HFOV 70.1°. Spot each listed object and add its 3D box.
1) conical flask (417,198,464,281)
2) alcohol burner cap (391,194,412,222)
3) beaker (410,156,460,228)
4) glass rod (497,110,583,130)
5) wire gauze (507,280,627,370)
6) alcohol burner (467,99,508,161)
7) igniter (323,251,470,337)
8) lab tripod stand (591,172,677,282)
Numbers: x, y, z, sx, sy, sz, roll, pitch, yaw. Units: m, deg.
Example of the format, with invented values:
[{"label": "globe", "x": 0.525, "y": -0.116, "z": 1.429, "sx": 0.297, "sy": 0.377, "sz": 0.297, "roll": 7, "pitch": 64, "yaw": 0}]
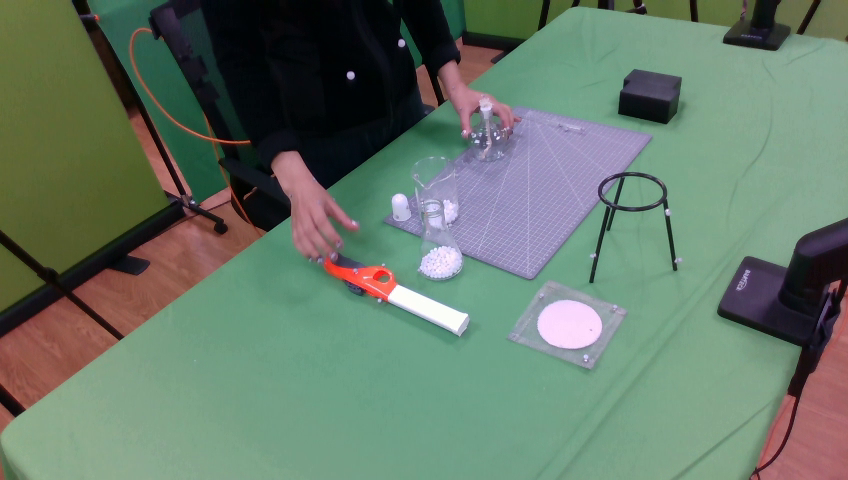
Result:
[{"label": "conical flask", "x": 0.019, "y": -0.004, "z": 0.907, "sx": 0.075, "sy": 0.122, "sz": 0.075, "roll": -5, "pitch": 40, "yaw": 5}, {"label": "alcohol burner cap", "x": -0.041, "y": -0.057, "z": 1.040, "sx": 0.034, "sy": 0.048, "sz": 0.033, "roll": -6, "pitch": 40, "yaw": 5}, {"label": "beaker", "x": 0.020, "y": -0.076, "z": 1.006, "sx": 0.074, "sy": 0.101, "sz": 0.084, "roll": 3, "pitch": 42, "yaw": 15}, {"label": "glass rod", "x": 0.233, "y": -0.245, "z": 1.235, "sx": 0.198, "sy": 0.008, "sz": 0.008, "roll": 21, "pitch": 49, "yaw": 35}, {"label": "wire gauze", "x": 0.196, "y": 0.114, "z": 0.823, "sx": 0.120, "sy": 0.011, "sz": 0.125, "roll": 20, "pitch": 50, "yaw": 31}, {"label": "alcohol burner", "x": 0.119, "y": -0.210, "z": 1.134, "sx": 0.078, "sy": 0.119, "sz": 0.077, "roll": -4, "pitch": 39, "yaw": 4}, {"label": "igniter", "x": -0.052, "y": 0.075, "z": 0.901, "sx": 0.274, "sy": 0.025, "sz": 0.057, "roll": 22, "pitch": 60, "yaw": 32}, {"label": "lab tripod stand", "x": 0.292, "y": -0.022, "z": 0.867, "sx": 0.148, "sy": 0.132, "sz": 0.147, "roll": -7, "pitch": 39, "yaw": 6}]
